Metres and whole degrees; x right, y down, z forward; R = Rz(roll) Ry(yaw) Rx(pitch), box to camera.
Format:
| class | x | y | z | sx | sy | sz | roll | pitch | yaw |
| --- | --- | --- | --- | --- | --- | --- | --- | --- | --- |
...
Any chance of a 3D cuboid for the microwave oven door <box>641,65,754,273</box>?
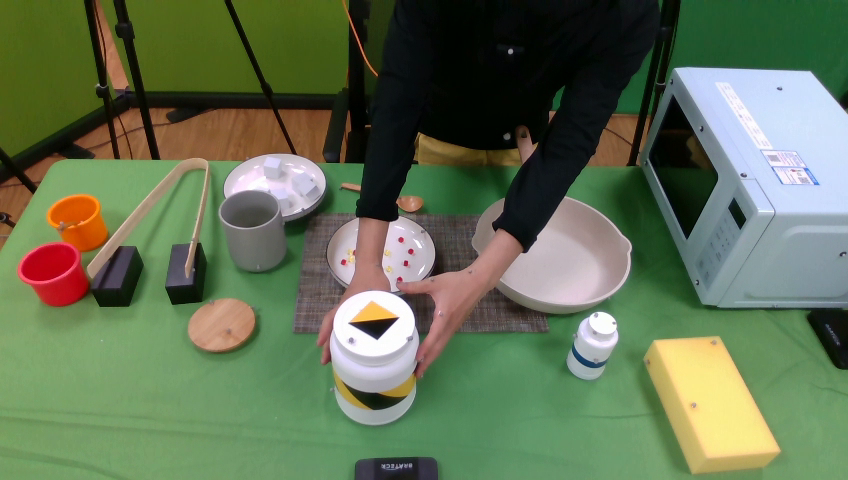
| class | x | y | z | sx | sy | sz | roll | pitch | yaw |
| --- | --- | --- | --- | --- | --- | --- | --- | --- | --- |
| microwave oven door | 0.524 | -0.147 | 1.193 | 0.039 | 0.245 | 0.353 | 0 | 47 | -3 |

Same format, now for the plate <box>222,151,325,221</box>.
| class | x | y | z | sx | sy | sz | roll | pitch | yaw |
| --- | --- | --- | --- | --- | --- | --- | --- | --- | --- |
| plate | -0.310 | -0.106 | 1.262 | 0.208 | 0.039 | 0.206 | 2 | 47 | -2 |

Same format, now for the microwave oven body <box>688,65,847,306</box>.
| class | x | y | z | sx | sy | sz | roll | pitch | yaw |
| --- | --- | --- | --- | --- | --- | --- | --- | --- | --- |
| microwave oven body | 0.669 | -0.111 | 1.176 | 0.326 | 0.261 | 0.439 | 0 | 46 | -3 |

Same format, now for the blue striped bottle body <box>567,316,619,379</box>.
| class | x | y | z | sx | sy | sz | roll | pitch | yaw |
| --- | --- | --- | --- | --- | --- | --- | --- | --- | --- |
| blue striped bottle body | 0.276 | 0.169 | 0.984 | 0.063 | 0.121 | 0.062 | 2 | 46 | -2 |

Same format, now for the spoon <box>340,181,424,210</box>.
| class | x | y | z | sx | sy | sz | roll | pitch | yaw |
| --- | --- | --- | --- | --- | --- | --- | --- | --- | --- |
| spoon | -0.091 | -0.100 | 1.282 | 0.193 | 0.022 | 0.041 | 18 | 62 | 13 |

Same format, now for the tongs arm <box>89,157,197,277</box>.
| class | x | y | z | sx | sy | sz | roll | pitch | yaw |
| --- | --- | --- | --- | --- | --- | --- | --- | --- | --- |
| tongs arm | -0.529 | -0.059 | 1.163 | 0.028 | 0.028 | 0.385 | 2 | 36 | 7 |

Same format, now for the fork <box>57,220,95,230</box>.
| class | x | y | z | sx | sy | sz | roll | pitch | yaw |
| --- | --- | --- | --- | --- | --- | --- | --- | --- | --- |
| fork | -0.624 | -0.027 | 1.087 | 0.028 | 0.207 | 0.018 | -3 | 92 | -17 |

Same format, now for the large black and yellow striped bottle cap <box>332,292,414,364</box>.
| class | x | y | z | sx | sy | sz | roll | pitch | yaw |
| --- | --- | --- | --- | --- | --- | --- | --- | --- | --- |
| large black and yellow striped bottle cap | -0.071 | 0.120 | 0.847 | 0.115 | 0.019 | 0.114 | 2 | 45 | -2 |

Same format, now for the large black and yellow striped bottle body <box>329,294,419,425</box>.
| class | x | y | z | sx | sy | sz | roll | pitch | yaw |
| --- | --- | --- | --- | --- | --- | --- | --- | --- | --- |
| large black and yellow striped bottle body | -0.073 | 0.178 | 0.908 | 0.131 | 0.185 | 0.130 | 2 | 47 | -2 |

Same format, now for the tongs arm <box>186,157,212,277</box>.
| class | x | y | z | sx | sy | sz | roll | pitch | yaw |
| --- | --- | --- | --- | --- | --- | --- | --- | --- | --- |
| tongs arm | -0.445 | -0.058 | 1.168 | 0.051 | 0.026 | 0.382 | -4 | 37 | -6 |

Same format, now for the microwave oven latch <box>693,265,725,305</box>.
| class | x | y | z | sx | sy | sz | roll | pitch | yaw |
| --- | --- | --- | --- | --- | --- | --- | --- | --- | --- |
| microwave oven latch | 0.523 | 0.081 | 1.115 | 0.030 | 0.029 | 0.078 | 2 | 46 | -1 |

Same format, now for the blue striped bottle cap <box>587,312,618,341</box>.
| class | x | y | z | sx | sy | sz | roll | pitch | yaw |
| --- | --- | --- | --- | --- | --- | --- | --- | --- | --- |
| blue striped bottle cap | 0.279 | 0.134 | 0.947 | 0.044 | 0.021 | 0.044 | 2 | 45 | -2 |

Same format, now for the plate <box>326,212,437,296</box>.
| class | x | y | z | sx | sy | sz | roll | pitch | yaw |
| --- | --- | --- | --- | --- | --- | --- | --- | --- | --- |
| plate | -0.080 | 0.030 | 1.143 | 0.209 | 0.038 | 0.208 | 3 | 46 | -3 |

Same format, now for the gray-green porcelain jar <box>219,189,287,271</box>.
| class | x | y | z | sx | sy | sz | roll | pitch | yaw |
| --- | --- | --- | --- | --- | --- | --- | --- | --- | --- |
| gray-green porcelain jar | -0.310 | -0.014 | 1.113 | 0.106 | 0.127 | 0.105 | 2 | 46 | -2 |

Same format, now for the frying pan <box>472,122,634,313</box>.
| class | x | y | z | sx | sy | sz | roll | pitch | yaw |
| --- | --- | --- | --- | --- | --- | --- | --- | --- | --- |
| frying pan | 0.235 | -0.061 | 1.207 | 0.307 | 0.103 | 0.484 | 1 | 55 | -6 |

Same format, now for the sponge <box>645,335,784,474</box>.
| class | x | y | z | sx | sy | sz | roll | pitch | yaw |
| --- | --- | --- | --- | --- | --- | --- | --- | --- | --- |
| sponge | 0.449 | 0.253 | 0.956 | 0.118 | 0.061 | 0.205 | -4 | 46 | -7 |

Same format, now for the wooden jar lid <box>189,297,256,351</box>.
| class | x | y | z | sx | sy | sz | roll | pitch | yaw |
| --- | --- | --- | --- | --- | --- | --- | --- | --- | --- |
| wooden jar lid | -0.342 | 0.145 | 1.033 | 0.108 | 0.021 | 0.107 | 2 | 45 | -2 |
